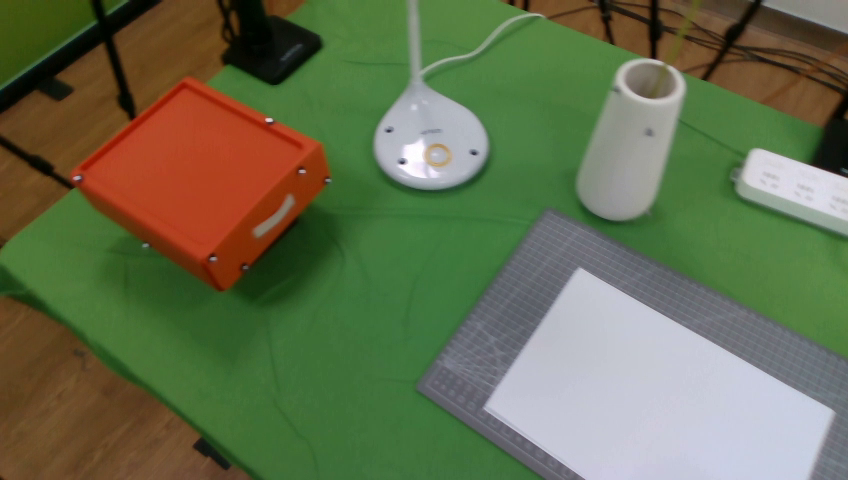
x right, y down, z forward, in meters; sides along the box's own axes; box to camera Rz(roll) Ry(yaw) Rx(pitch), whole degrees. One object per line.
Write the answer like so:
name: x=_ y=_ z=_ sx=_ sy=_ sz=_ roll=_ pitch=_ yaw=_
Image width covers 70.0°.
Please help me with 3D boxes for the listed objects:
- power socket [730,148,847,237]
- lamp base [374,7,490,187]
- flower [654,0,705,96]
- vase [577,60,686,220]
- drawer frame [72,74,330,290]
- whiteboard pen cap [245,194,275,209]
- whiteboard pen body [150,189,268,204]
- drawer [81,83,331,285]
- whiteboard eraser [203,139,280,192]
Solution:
power socket: x=0.509 y=-0.052 z=0.767 sx=0.225 sy=0.033 sz=0.072 roll=24 pitch=62 yaw=16
lamp base: x=0.004 y=-0.190 z=0.784 sx=0.161 sy=0.182 sz=0.177 roll=-18 pitch=55 yaw=-10
flower: x=0.255 y=-0.167 z=0.652 sx=0.038 sy=0.364 sz=0.044 roll=19 pitch=42 yaw=6
vase: x=0.242 y=-0.112 z=0.715 sx=0.098 sy=0.202 sz=0.097 roll=-1 pitch=56 yaw=2
drawer frame: x=-0.259 y=-0.076 z=0.727 sx=0.212 sy=0.083 sz=0.201 roll=29 pitch=63 yaw=18
whiteboard pen cap: x=-0.197 y=-0.047 z=0.728 sx=0.033 sy=0.018 sz=0.018 roll=3 pitch=56 yaw=0
whiteboard pen body: x=-0.256 y=-0.052 z=0.725 sx=0.141 sy=0.017 sz=0.017 roll=1 pitch=56 yaw=2
drawer: x=-0.253 y=-0.076 z=0.723 sx=0.210 sy=0.074 sz=0.194 roll=29 pitch=63 yaw=19
whiteboard eraser: x=-0.232 y=-0.093 z=0.778 sx=0.112 sy=0.042 sz=0.055 roll=-4 pitch=62 yaw=36
